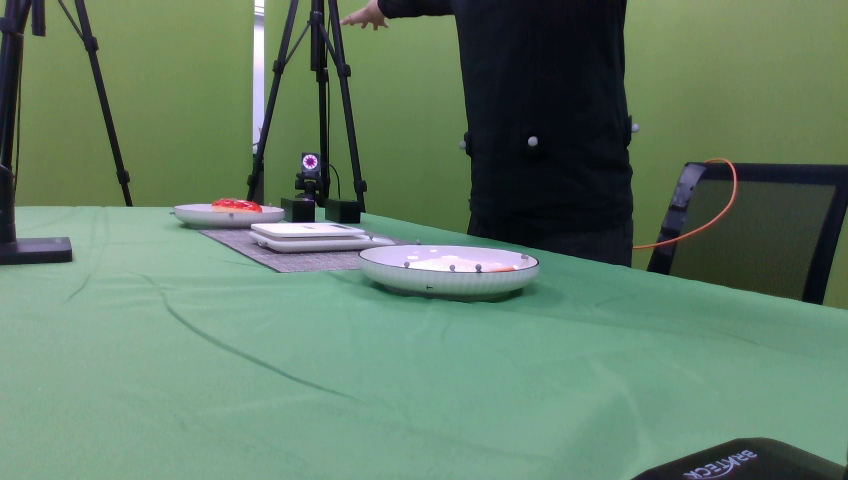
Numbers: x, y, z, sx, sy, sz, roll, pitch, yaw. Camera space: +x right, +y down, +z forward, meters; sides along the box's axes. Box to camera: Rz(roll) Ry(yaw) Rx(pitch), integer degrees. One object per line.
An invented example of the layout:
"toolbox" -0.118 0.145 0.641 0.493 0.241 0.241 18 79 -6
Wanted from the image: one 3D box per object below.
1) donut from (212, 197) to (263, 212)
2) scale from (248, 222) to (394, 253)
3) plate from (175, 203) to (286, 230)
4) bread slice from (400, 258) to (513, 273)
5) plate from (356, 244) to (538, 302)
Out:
"donut" -0.376 -0.061 1.220 0.099 0.048 0.099 5 4 0
"scale" -0.162 -0.006 0.954 0.202 0.031 0.148 -1 9 -32
"plate" -0.380 -0.047 1.199 0.208 0.039 0.207 3 7 0
"bread slice" 0.029 0.039 0.689 0.104 0.019 0.132 8 9 37
"plate" 0.025 0.036 0.693 0.209 0.038 0.209 3 7 0
